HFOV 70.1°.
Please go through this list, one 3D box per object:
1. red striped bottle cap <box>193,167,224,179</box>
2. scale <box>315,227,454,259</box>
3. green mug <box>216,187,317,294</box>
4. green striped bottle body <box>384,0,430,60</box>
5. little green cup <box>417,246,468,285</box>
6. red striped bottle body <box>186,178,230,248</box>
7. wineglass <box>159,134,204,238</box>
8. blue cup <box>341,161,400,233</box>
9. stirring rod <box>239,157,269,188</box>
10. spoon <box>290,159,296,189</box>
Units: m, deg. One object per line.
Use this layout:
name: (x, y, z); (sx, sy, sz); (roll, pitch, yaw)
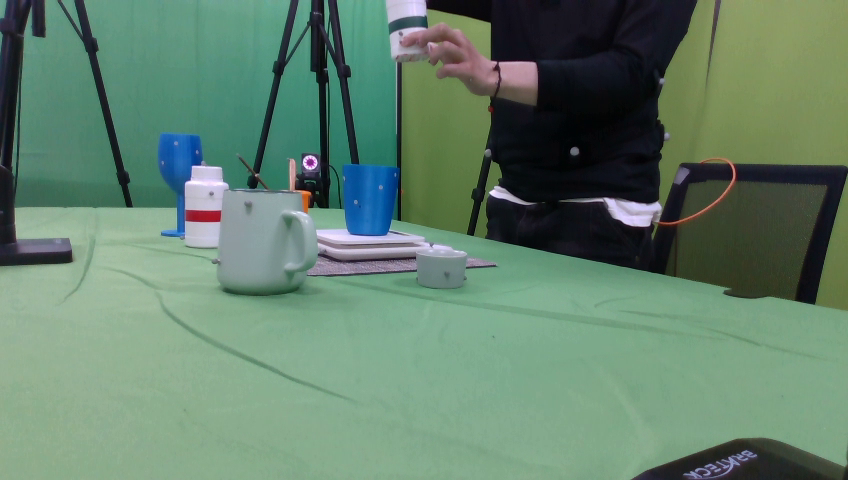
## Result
red striped bottle cap: (-0.329, -0.103, 0.921); (0.044, 0.017, 0.044); (-1, 9, 0)
scale: (-0.066, 0.001, 0.906); (0.202, 0.031, 0.148); (-2, 8, -31)
green mug: (-0.157, 0.000, 0.629); (0.124, 0.105, 0.093); (7, 9, 37)
green striped bottle body: (-0.028, -0.347, 0.943); (0.063, 0.119, 0.063); (-6, 5, 1)
little green cup: (0.021, 0.029, 0.701); (0.061, 0.038, 0.061); (1, 6, 0)
red striped bottle body: (-0.331, -0.050, 0.927); (0.063, 0.119, 0.063); (2, 7, 0)
wineglass: (-0.415, -0.093, 1.040); (0.074, 0.172, 0.073); (2, 7, 0)
blue cup: (-0.080, -0.062, 0.883); (0.093, 0.100, 0.092); (3, 4, 0)
stirring rod: (-0.309, -0.098, 1.209); (0.006, 0.177, 0.014); (-39, 29, -4)
spoon: (-0.273, -0.102, 1.252); (0.042, 0.193, 0.021); (7, -39, -17)
